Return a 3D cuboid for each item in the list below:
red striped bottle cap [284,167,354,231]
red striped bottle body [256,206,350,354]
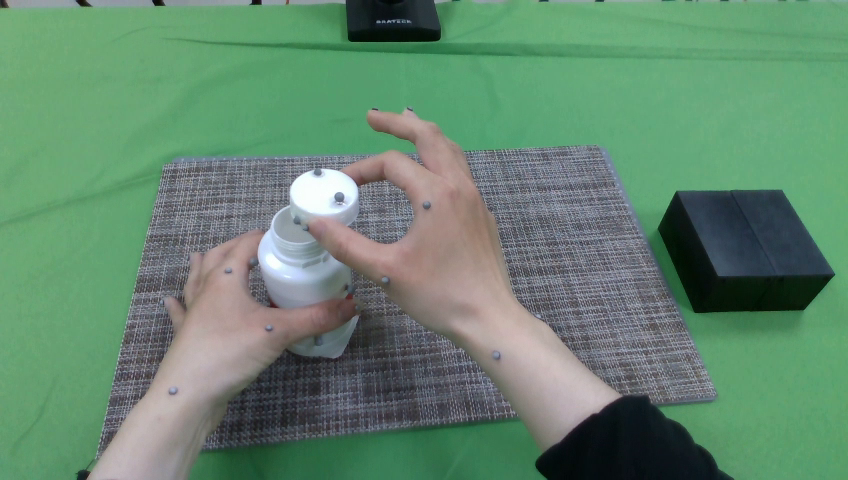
[{"bbox_3d":[-0.067,-0.027,0.388,0.045,0.018,0.044,9,45,-9],"label":"red striped bottle cap"},{"bbox_3d":[-0.086,0.027,0.441,0.063,0.120,0.062,3,49,-3],"label":"red striped bottle body"}]
